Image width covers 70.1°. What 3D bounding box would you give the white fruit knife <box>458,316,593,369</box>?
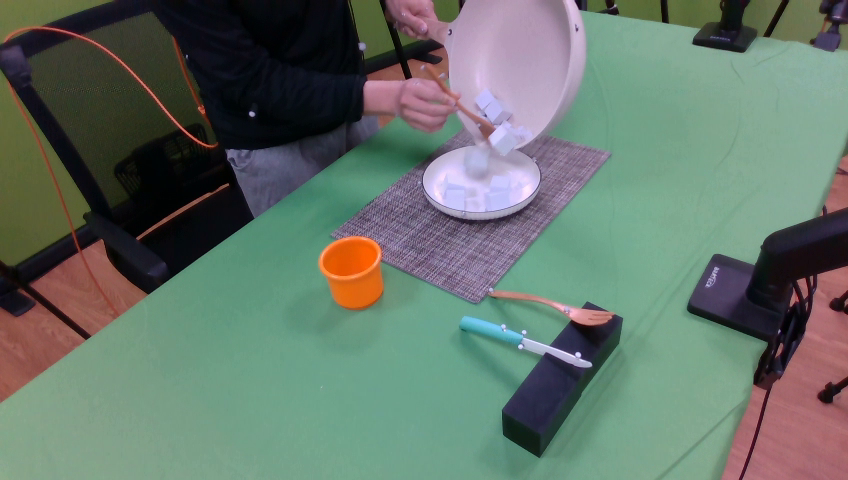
[{"bbox_3d":[0.120,0.127,0.757,0.205,0.027,0.016,12,45,43],"label":"white fruit knife"}]

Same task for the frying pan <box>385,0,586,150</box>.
[{"bbox_3d":[0.086,-0.346,1.061,0.103,0.307,0.483,-13,38,-43],"label":"frying pan"}]

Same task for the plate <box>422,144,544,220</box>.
[{"bbox_3d":[0.102,-0.097,1.048,0.207,0.039,0.206,-4,40,4],"label":"plate"}]

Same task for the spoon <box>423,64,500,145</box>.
[{"bbox_3d":[0.062,-0.214,0.970,0.041,0.195,0.021,18,77,52],"label":"spoon"}]

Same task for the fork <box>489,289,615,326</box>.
[{"bbox_3d":[0.161,0.085,0.800,0.205,0.019,0.028,12,50,48],"label":"fork"}]
